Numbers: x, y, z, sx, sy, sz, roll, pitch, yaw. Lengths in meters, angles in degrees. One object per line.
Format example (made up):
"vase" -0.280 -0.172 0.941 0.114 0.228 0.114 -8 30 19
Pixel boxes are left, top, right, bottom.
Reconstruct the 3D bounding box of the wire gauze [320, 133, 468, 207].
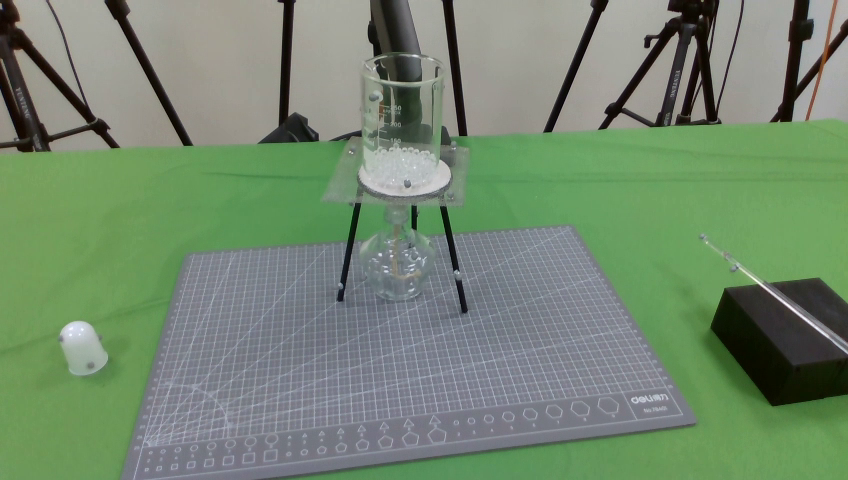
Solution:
"wire gauze" -0.022 -0.065 0.558 0.121 0.011 0.124 4 38 4

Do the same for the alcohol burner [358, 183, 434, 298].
"alcohol burner" -0.028 -0.002 0.600 0.078 0.120 0.077 0 34 0

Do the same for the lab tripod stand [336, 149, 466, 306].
"lab tripod stand" -0.017 -0.011 0.596 0.148 0.132 0.147 2 35 -1

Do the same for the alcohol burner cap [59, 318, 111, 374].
"alcohol burner cap" -0.298 0.090 0.528 0.034 0.048 0.033 1 35 0

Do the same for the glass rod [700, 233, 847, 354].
"glass rod" 0.321 0.048 0.552 0.008 0.008 0.197 -11 37 -17

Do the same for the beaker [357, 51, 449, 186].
"beaker" -0.023 -0.106 0.531 0.083 0.101 0.074 28 42 30
